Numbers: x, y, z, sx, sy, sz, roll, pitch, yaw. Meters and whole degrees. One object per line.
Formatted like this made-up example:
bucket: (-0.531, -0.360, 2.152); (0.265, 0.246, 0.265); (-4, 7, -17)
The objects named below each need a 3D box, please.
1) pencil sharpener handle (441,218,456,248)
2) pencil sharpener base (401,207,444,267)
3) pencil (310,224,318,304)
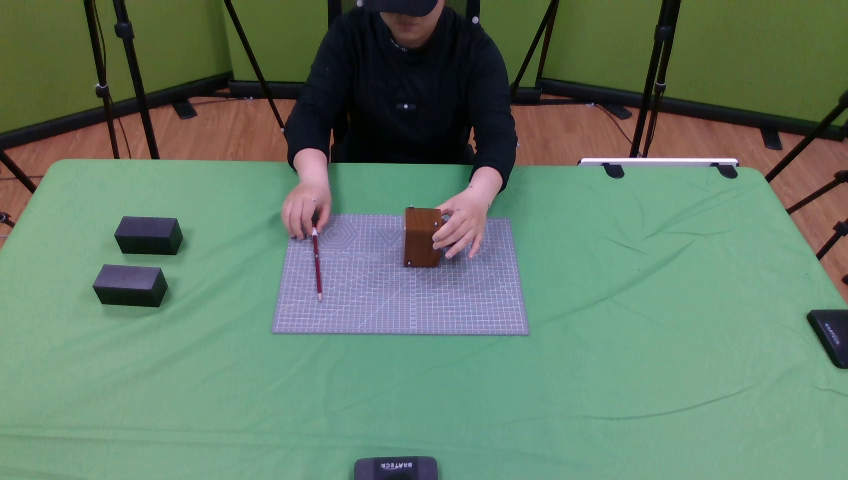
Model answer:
pencil sharpener handle: (0.048, -0.011, 1.132); (0.031, 0.068, 0.036); (1, 46, -4)
pencil sharpener base: (-0.004, -0.003, 1.137); (0.077, 0.107, 0.061); (1, 45, -4)
pencil: (-0.207, 0.042, 1.146); (0.012, 0.012, 0.192); (-4, 49, -8)
